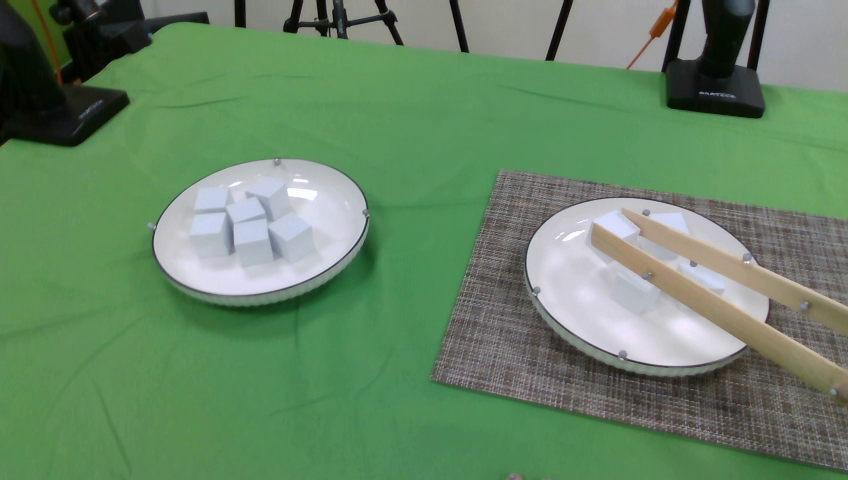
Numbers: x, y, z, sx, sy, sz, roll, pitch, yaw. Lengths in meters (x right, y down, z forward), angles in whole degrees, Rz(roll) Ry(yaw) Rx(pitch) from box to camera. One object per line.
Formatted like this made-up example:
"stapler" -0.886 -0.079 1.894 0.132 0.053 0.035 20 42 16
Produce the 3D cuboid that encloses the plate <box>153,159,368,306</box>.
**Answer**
"plate" -0.159 -0.008 0.611 0.209 0.038 0.207 0 43 1

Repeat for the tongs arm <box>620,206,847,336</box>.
"tongs arm" 0.280 0.064 0.414 0.051 0.027 0.380 -30 41 -26

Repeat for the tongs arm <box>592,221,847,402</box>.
"tongs arm" 0.260 0.075 0.405 0.028 0.028 0.383 -25 39 -25

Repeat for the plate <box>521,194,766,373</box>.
"plate" 0.191 0.037 0.547 0.208 0.039 0.205 -1 43 1
